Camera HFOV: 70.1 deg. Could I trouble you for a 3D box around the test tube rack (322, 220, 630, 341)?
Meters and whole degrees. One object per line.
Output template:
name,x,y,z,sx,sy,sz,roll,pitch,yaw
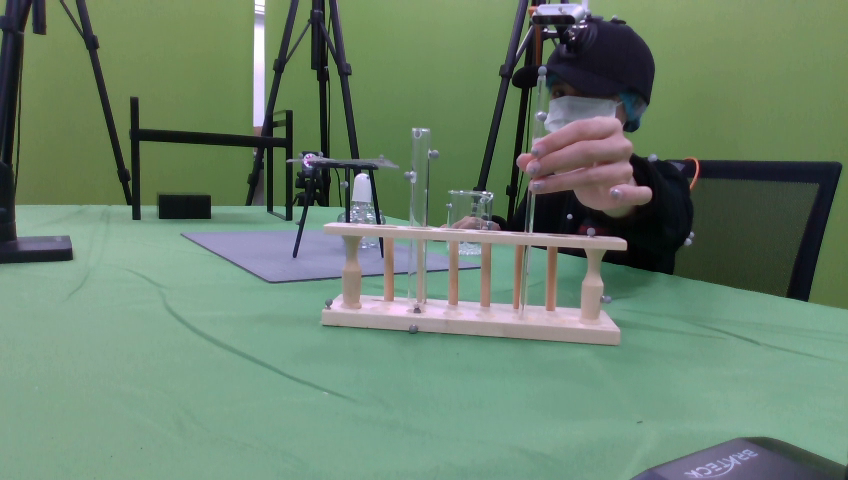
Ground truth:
test tube rack,0.041,0.029,0.512,0.242,0.085,0.067,3,7,5

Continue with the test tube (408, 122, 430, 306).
test tube,-0.005,-0.019,0.489,0.017,0.150,0.017,1,12,0

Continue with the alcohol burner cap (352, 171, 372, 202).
alcohol burner cap,-0.096,-0.084,0.951,0.034,0.048,0.034,5,6,0

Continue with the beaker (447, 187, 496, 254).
beaker,0.076,-0.031,0.949,0.074,0.100,0.083,-6,11,-42

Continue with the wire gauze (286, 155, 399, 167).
wire gauze,-0.101,-0.105,0.788,0.121,0.011,0.125,4,6,6

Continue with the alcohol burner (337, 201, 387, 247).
alcohol burner,-0.098,-0.049,0.954,0.078,0.119,0.078,0,6,0

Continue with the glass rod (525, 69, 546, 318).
glass rod,0.087,-0.031,0.475,0.008,0.199,0.008,1,14,0

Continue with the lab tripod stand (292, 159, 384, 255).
lab tripod stand,-0.105,-0.039,0.797,0.148,0.131,0.148,2,5,0
